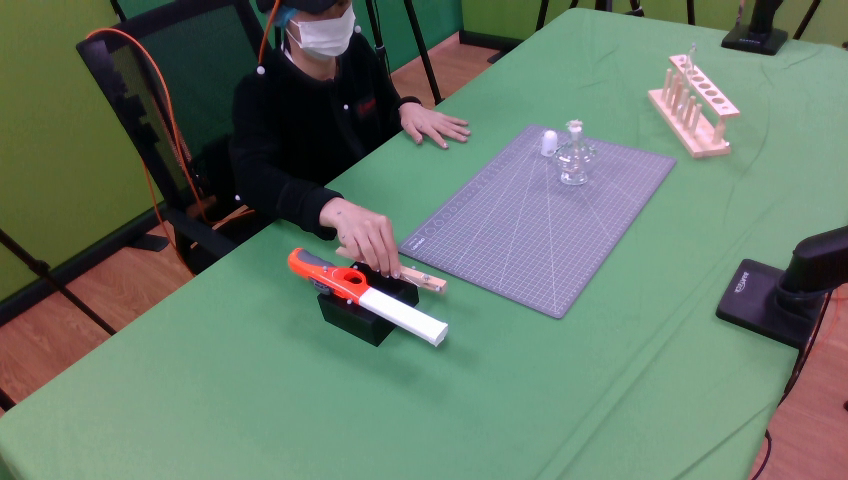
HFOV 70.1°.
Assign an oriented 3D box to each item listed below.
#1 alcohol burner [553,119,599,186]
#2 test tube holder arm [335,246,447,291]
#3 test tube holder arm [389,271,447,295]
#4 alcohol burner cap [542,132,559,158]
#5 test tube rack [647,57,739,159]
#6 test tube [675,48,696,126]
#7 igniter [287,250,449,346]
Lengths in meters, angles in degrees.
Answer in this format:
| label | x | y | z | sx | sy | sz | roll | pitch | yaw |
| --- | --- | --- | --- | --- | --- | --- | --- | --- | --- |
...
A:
| label | x | y | z | sx | sy | sz | roll | pitch | yaw |
| --- | --- | --- | --- | --- | --- | --- | --- | --- | --- |
| alcohol burner | 0.261 | -0.153 | 1.042 | 0.078 | 0.119 | 0.077 | -6 | 40 | 6 |
| test tube holder arm | -0.049 | 0.039 | 0.853 | 0.177 | 0.013 | 0.015 | 19 | 40 | 22 |
| test tube holder arm | -0.009 | 0.057 | 0.839 | 0.087 | 0.010 | 0.015 | 19 | 40 | 22 |
| alcohol burner cap | 0.237 | -0.180 | 1.134 | 0.034 | 0.048 | 0.033 | -5 | 41 | 5 |
| test tube rack | 0.504 | -0.257 | 1.153 | 0.067 | 0.085 | 0.241 | -8 | 40 | 1 |
| test tube | 0.481 | -0.279 | 1.112 | 0.017 | 0.151 | 0.017 | -5 | 40 | 5 |
| igniter | -0.087 | 0.073 | 0.826 | 0.274 | 0.025 | 0.057 | 23 | 48 | 28 |
